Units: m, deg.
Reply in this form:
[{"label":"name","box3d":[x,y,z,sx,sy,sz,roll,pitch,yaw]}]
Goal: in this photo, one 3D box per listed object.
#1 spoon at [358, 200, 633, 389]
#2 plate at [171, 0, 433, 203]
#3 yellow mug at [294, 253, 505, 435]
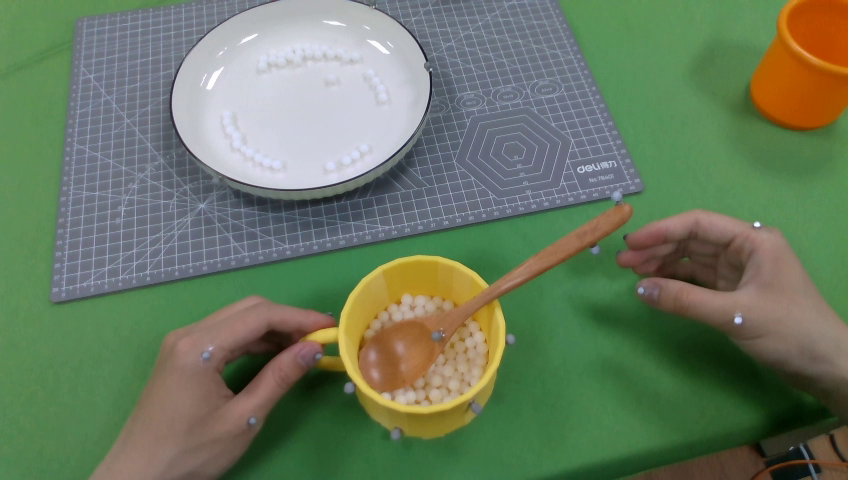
[{"label":"spoon","box3d":[0.040,0.033,0.365,0.194,0.022,0.041,-35,68,18]},{"label":"plate","box3d":[-0.096,-0.114,0.497,0.208,0.039,0.206,0,61,0]},{"label":"yellow mug","box3d":[-0.017,0.067,0.383,0.131,0.064,0.099,-4,61,-1]}]
